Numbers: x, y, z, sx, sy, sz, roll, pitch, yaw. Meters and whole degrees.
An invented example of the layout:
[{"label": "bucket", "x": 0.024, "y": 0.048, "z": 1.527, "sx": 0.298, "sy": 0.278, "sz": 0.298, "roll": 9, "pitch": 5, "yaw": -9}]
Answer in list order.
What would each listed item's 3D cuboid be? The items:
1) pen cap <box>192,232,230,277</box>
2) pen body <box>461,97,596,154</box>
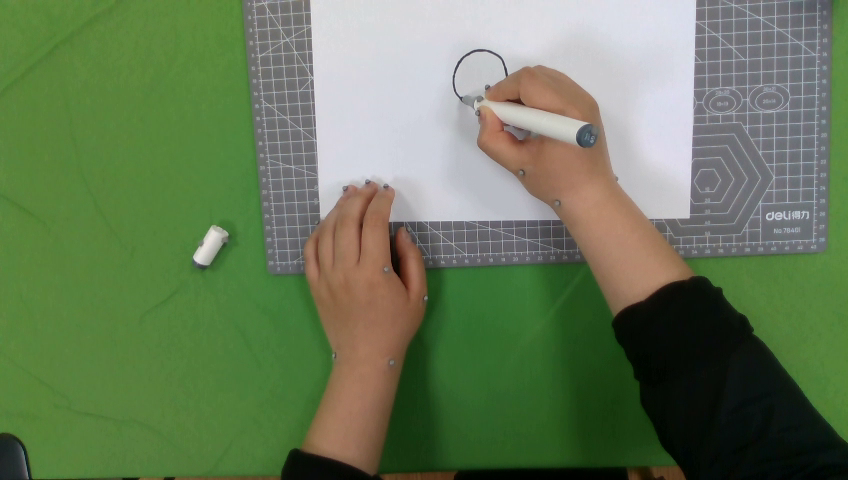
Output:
[{"label": "pen cap", "x": -0.181, "y": 0.013, "z": 0.512, "sx": 0.017, "sy": 0.017, "sz": 0.038, "roll": 35, "pitch": 98, "yaw": 1}, {"label": "pen body", "x": 0.066, "y": -0.085, "z": 0.428, "sx": 0.017, "sy": 0.142, "sz": 0.017, "roll": -14, "pitch": 119, "yaw": -27}]
